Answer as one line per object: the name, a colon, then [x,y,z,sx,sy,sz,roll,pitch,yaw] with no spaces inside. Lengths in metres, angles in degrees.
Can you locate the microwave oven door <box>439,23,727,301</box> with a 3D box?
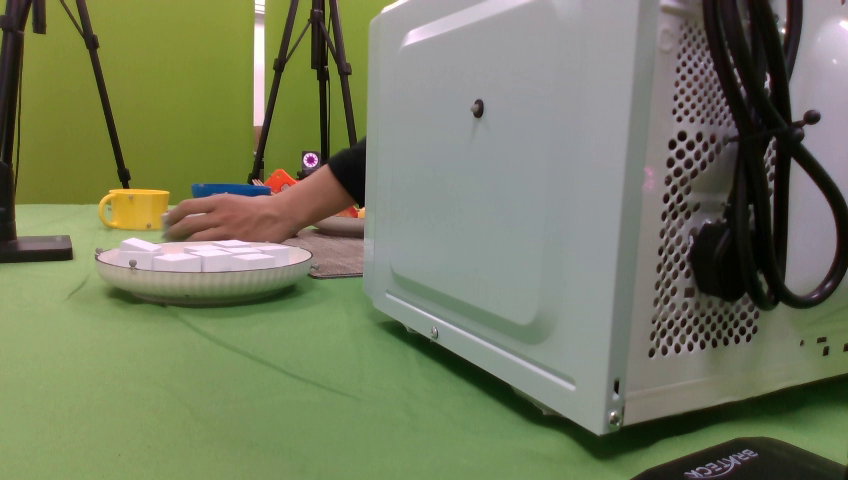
microwave oven door: [0.181,-0.073,0.620,0.358,0.243,0.039,-2,8,-29]

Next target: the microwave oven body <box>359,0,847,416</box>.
microwave oven body: [0.211,-0.047,0.474,0.444,0.260,0.324,-1,7,-28]

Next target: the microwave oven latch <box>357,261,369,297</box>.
microwave oven latch: [-0.019,0.033,0.530,0.079,0.029,0.030,-1,7,-26]

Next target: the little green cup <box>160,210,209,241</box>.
little green cup: [-0.316,-0.017,0.803,0.061,0.038,0.061,-4,8,1]

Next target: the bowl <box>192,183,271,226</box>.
bowl: [-0.381,-0.071,1.202,0.151,0.077,0.151,3,7,0]

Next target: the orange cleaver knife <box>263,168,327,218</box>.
orange cleaver knife: [-0.262,-0.088,1.353,0.211,0.077,0.012,28,13,-1]

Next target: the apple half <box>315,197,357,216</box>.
apple half: [-0.162,-0.052,1.121,0.081,0.053,0.074,4,7,-14]

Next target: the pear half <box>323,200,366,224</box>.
pear half: [-0.155,-0.059,1.197,0.088,0.031,0.070,15,32,-4]

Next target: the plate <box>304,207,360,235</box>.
plate: [-0.123,-0.037,1.149,0.209,0.038,0.209,2,7,0]

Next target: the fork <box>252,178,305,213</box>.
fork: [-0.295,-0.084,1.292,0.206,0.018,0.028,29,10,25]

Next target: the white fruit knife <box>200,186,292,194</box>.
white fruit knife: [-0.399,-0.111,1.368,0.208,0.016,0.027,-4,-19,-30]

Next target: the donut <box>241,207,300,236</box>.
donut: [-0.263,-0.031,1.039,0.099,0.048,0.099,4,10,0]

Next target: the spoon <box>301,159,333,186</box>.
spoon: [-0.316,-0.159,1.639,0.194,0.022,0.041,-49,32,-20]

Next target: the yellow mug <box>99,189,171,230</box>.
yellow mug: [-0.518,-0.055,1.080,0.099,0.064,0.131,6,9,26]

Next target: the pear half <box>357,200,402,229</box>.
pear half: [-0.075,-0.046,1.132,0.076,0.056,0.110,12,6,31]

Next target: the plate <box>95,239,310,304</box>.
plate: [-0.224,0.031,0.629,0.208,0.039,0.207,2,8,0]

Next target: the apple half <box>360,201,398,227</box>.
apple half: [-0.087,-0.059,1.190,0.081,0.033,0.081,9,31,-5]
